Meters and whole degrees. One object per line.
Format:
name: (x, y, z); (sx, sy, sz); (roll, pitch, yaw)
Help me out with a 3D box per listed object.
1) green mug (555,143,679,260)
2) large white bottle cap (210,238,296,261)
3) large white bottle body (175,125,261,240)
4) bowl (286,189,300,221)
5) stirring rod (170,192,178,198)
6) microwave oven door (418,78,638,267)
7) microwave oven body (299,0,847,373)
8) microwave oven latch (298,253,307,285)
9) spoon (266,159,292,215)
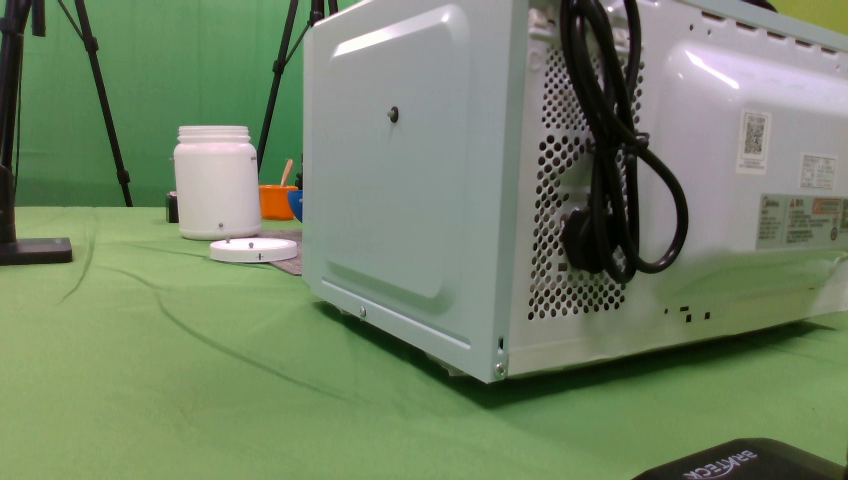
green mug: (0.181, -0.036, 0.583); (0.093, 0.105, 0.124); (-2, 5, -44)
large white bottle cap: (-0.236, 0.012, 0.839); (0.115, 0.018, 0.115); (1, 7, 0)
large white bottle body: (-0.349, -0.100, 1.025); (0.131, 0.184, 0.130); (-1, 9, 0)
bowl: (-0.179, -0.051, 1.115); (0.151, 0.077, 0.151); (3, 8, 0)
stirring rod: (-0.465, -0.098, 1.283); (0.014, 0.006, 0.177); (42, 21, 17)
microwave oven door: (0.133, -0.105, 0.894); (0.354, 0.243, 0.039); (9, 10, 43)
microwave oven body: (0.152, -0.055, 0.543); (0.444, 0.260, 0.324); (-1, 7, -33)
microwave oven latch: (-0.081, 0.027, 0.582); (0.079, 0.029, 0.030); (-1, 7, -32)
spoon: (-0.334, -0.127, 1.423); (0.041, 0.193, 0.022); (0, -38, 7)
